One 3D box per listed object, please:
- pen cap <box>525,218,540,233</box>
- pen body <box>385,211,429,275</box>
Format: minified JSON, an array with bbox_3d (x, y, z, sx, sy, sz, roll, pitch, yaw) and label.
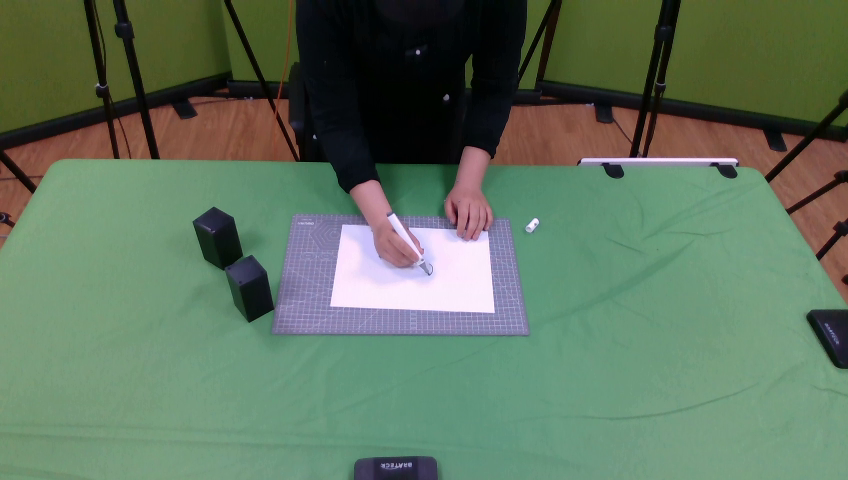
[{"bbox_3d":[0.224,-0.031,1.248,0.017,0.017,0.038,30,51,23],"label":"pen cap"},{"bbox_3d":[-0.029,0.008,1.123,0.017,0.144,0.017,-30,16,10],"label":"pen body"}]
